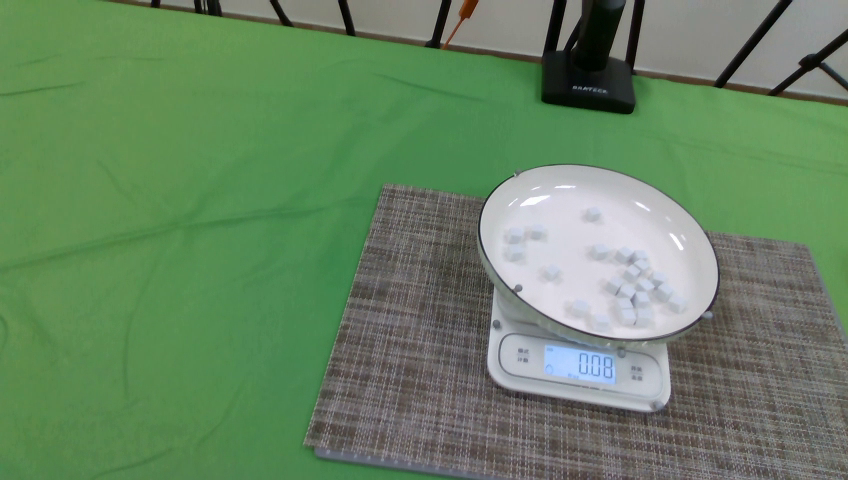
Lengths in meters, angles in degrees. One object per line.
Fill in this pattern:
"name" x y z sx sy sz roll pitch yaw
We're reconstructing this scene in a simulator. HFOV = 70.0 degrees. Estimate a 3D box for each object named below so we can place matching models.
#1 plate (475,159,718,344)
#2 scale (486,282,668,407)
"plate" 0.146 0.007 0.534 0.209 0.038 0.207 3 47 -3
"scale" 0.136 0.046 0.541 0.148 0.032 0.199 9 47 3
